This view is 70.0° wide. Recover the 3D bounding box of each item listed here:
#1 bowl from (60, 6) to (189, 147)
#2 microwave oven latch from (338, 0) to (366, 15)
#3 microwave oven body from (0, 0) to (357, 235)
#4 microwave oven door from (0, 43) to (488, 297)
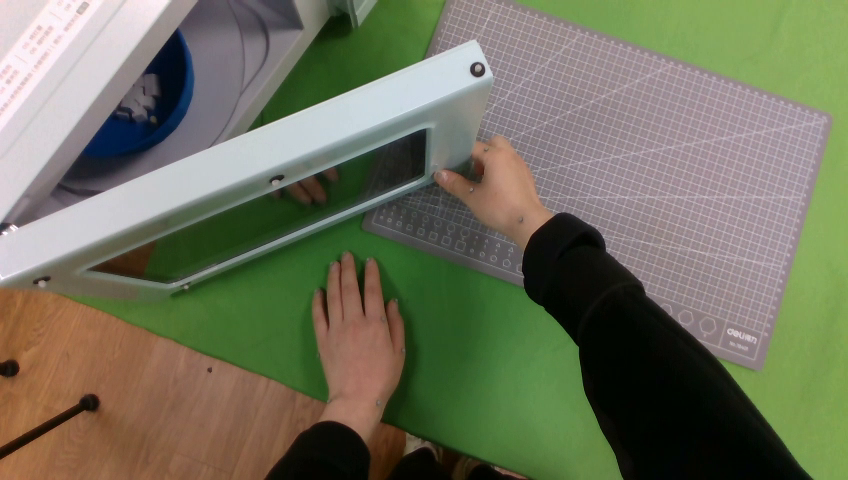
[{"bbox_3d":[-0.282,-0.148,0.559,0.151,0.077,0.151,0,80,0],"label":"bowl"},{"bbox_3d":[-0.062,-0.282,0.645,0.030,0.029,0.079,36,85,3],"label":"microwave oven latch"},{"bbox_3d":[-0.282,-0.230,0.537,0.326,0.260,0.441,34,84,2],"label":"microwave oven body"},{"bbox_3d":[-0.123,-0.042,0.514,0.356,0.244,0.039,-23,83,-4],"label":"microwave oven door"}]
